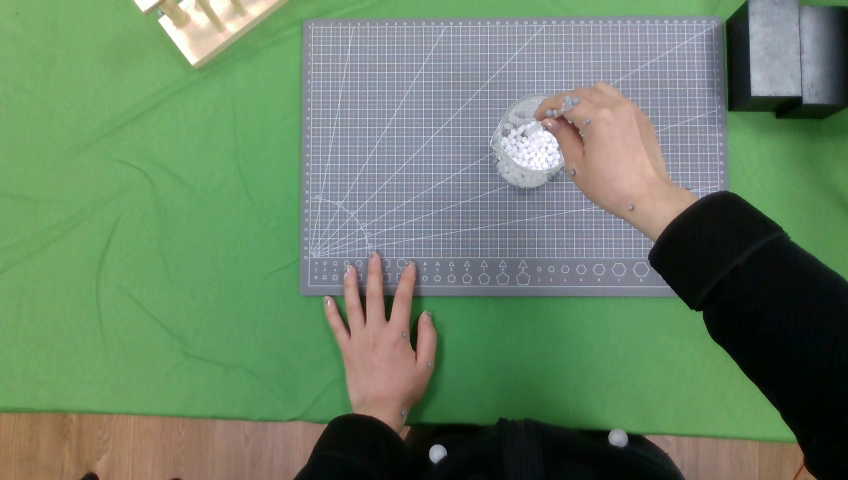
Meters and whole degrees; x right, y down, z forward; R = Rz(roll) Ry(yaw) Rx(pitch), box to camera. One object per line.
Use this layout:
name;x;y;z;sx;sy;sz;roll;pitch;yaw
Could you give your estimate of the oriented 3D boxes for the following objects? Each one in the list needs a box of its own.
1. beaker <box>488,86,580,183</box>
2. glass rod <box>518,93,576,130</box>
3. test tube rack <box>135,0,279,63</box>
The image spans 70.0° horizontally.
beaker;0.101;-0.097;0.594;0.084;0.100;0.074;-11;85;1
glass rod;0.105;-0.113;0.542;0.008;0.199;0.008;0;94;-2
test tube rack;-0.175;-0.294;0.622;0.242;0.085;0.066;-38;86;-1
